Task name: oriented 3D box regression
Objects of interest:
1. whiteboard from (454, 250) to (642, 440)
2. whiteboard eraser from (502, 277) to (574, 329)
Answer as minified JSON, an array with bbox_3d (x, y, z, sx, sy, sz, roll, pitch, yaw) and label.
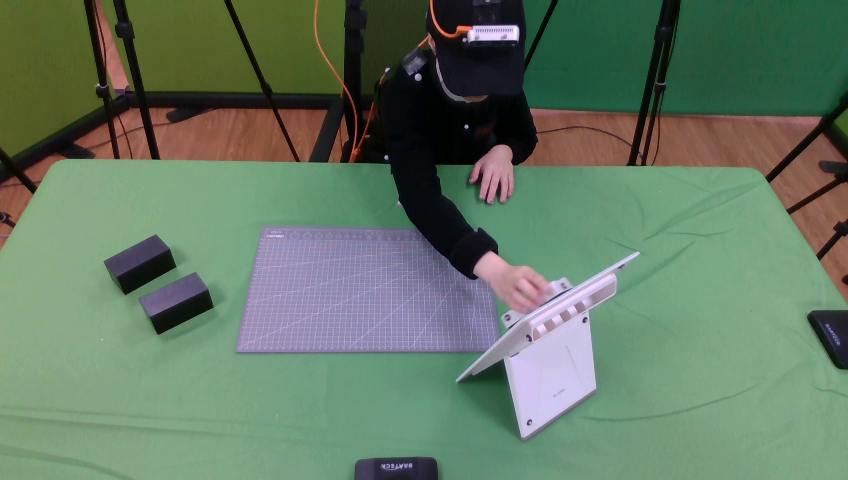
[{"bbox_3d":[0.206,0.175,0.889,0.217,0.306,0.143,-24,72,-25],"label":"whiteboard"},{"bbox_3d":[0.176,0.102,0.926,0.056,0.113,0.041,-14,68,-55],"label":"whiteboard eraser"}]
